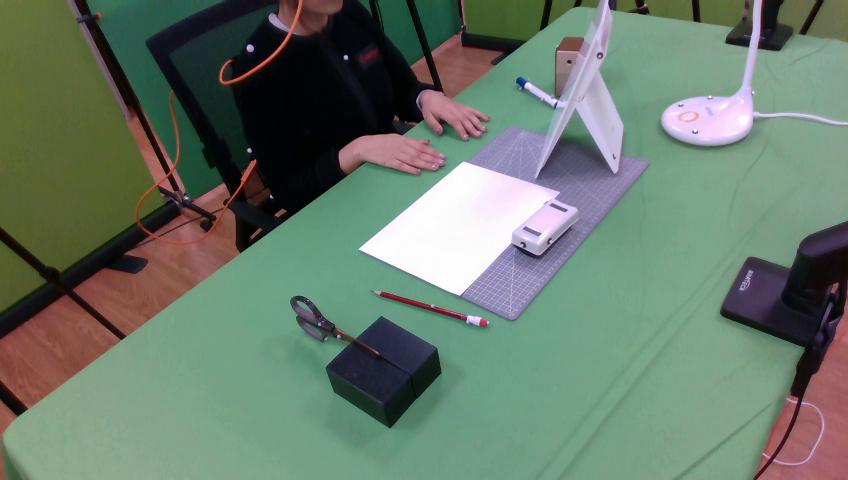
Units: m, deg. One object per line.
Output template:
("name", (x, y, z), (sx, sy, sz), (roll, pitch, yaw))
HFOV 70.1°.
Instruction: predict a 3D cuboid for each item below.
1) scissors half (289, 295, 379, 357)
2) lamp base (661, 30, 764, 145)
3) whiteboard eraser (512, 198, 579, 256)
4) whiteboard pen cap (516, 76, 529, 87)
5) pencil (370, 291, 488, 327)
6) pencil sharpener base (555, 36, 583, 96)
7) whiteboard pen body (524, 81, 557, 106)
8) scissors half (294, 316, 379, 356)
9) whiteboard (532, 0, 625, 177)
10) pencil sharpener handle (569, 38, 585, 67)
("scissors half", (-0.123, 0.114, 0.803), (0.174, 0.040, 0.013), (26, 47, 32))
("lamp base", (0.535, -0.287, 1.095), (0.179, 0.181, 0.159), (-10, 40, -4))
("whiteboard eraser", (0.191, -0.019, 0.949), (0.055, 0.042, 0.113), (26, 51, 36))
("whiteboard pen cap", (0.221, -0.355, 1.352), (0.018, 0.018, 0.033), (-24, 46, -17))
("pencil", (0.003, 0.097, 0.877), (0.193, 0.012, 0.012), (13, 45, 26))
("pencil sharpener base", (0.317, -0.371, 1.290), (0.061, 0.107, 0.076), (10, 44, 22))
("whiteboard pen body", (0.249, -0.321, 1.313), (0.017, 0.017, 0.139), (-24, 44, -17))
("scissors half", (-0.119, 0.132, 0.813), (0.174, 0.040, 0.013), (8, 31, 44))
("whiteboard", (0.319, -0.258, 1.050), (0.144, 0.306, 0.217), (21, 45, 5))
("pencil sharpener handle", (0.332, -0.413, 1.317), (0.036, 0.068, 0.030), (19, 46, 13))
